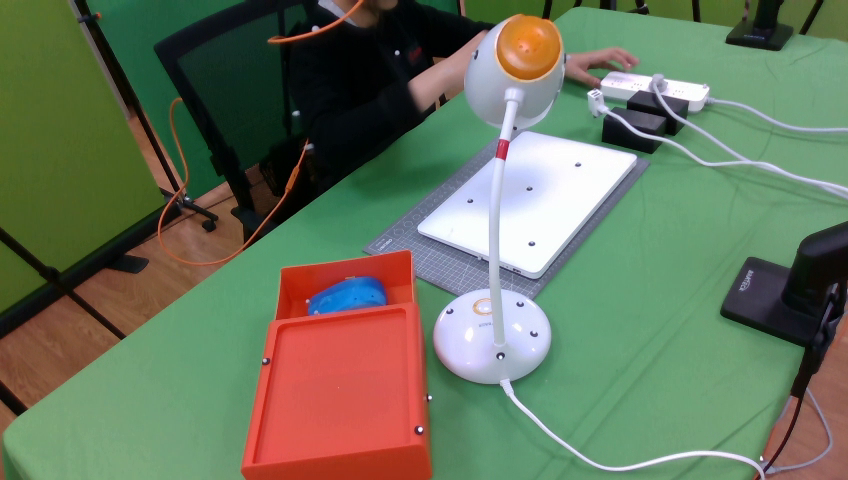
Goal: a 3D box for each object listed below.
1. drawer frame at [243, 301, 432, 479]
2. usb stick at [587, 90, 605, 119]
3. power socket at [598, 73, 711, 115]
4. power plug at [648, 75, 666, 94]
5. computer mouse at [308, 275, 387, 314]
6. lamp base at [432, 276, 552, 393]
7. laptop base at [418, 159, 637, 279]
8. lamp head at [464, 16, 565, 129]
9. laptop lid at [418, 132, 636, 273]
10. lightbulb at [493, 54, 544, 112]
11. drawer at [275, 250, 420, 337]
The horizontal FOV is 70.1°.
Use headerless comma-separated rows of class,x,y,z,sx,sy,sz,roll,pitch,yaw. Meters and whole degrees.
drawer frame,-0.096,0.185,0.738,0.202,0.083,0.212,-8,40,1
usb stick,0.334,-0.257,1.170,0.021,0.059,0.027,-28,44,-5
power socket,0.470,-0.303,1.249,0.225,0.033,0.072,20,49,30
power plug,0.457,-0.301,1.212,0.073,0.053,0.035,-36,47,-28
computer mouse,-0.112,0.089,0.881,0.117,0.041,0.062,-16,43,0
lamp base,0.085,0.075,0.756,0.161,0.181,0.178,-14,44,-6
laptop base,0.185,-0.074,1.042,0.233,0.023,0.355,19,48,35
lamp head,0.101,-0.184,0.655,0.112,0.112,0.123,-9,1,0
laptop lid,0.181,-0.084,1.036,0.239,0.013,0.358,22,49,35
lightbulb,0.109,-0.181,0.679,0.059,0.059,0.107,-10,-3,0
drawer,-0.104,0.117,0.825,0.194,0.073,0.210,-8,40,1
